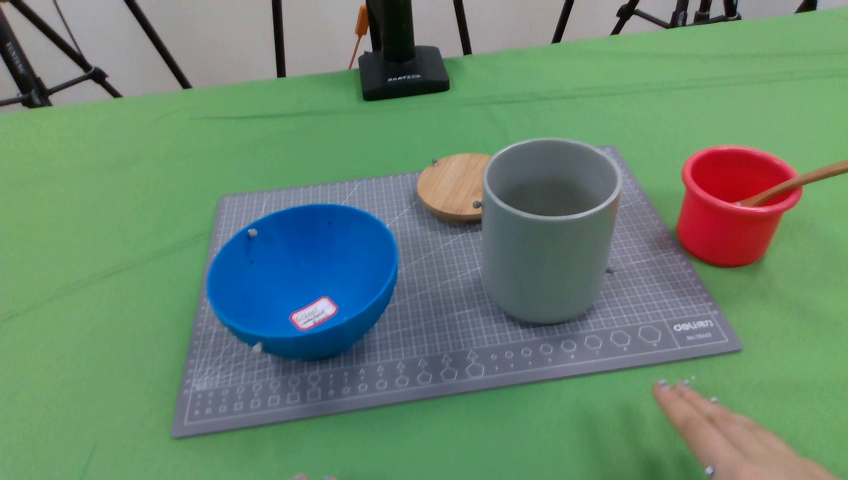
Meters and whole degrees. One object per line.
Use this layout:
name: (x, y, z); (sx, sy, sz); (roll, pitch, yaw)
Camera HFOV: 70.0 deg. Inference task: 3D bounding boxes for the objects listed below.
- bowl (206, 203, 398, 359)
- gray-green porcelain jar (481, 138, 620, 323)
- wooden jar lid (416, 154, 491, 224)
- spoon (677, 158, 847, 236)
bowl: (-0.093, 0.046, 0.502); (0.151, 0.077, 0.150); (-3, 42, 3)
gray-green porcelain jar: (0.099, -0.003, 0.500); (0.106, 0.128, 0.105); (-3, 42, 3)
wooden jar lid: (0.046, -0.054, 0.641); (0.108, 0.021, 0.107); (-3, 41, 3)
spoon: (0.308, -0.042, 0.515); (0.022, 0.193, 0.041); (48, 47, -12)
